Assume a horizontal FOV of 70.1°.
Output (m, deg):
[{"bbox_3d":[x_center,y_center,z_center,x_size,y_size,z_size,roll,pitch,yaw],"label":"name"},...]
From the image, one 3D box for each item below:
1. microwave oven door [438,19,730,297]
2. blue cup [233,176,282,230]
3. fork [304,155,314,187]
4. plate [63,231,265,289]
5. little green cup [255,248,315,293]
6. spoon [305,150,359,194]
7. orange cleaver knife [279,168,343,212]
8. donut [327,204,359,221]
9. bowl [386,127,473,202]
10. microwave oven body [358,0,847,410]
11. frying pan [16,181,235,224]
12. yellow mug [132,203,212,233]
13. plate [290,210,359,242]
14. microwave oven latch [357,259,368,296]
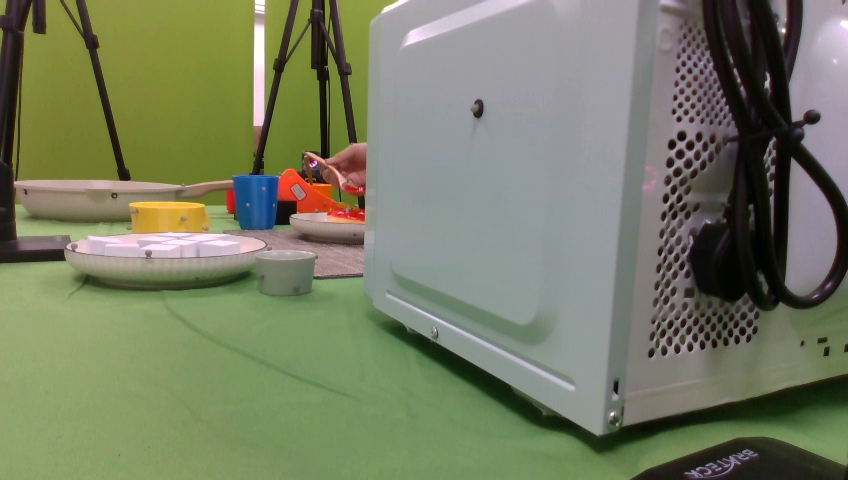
[{"bbox_3d":[0.181,-0.076,0.618,0.358,0.243,0.039,-2,8,-28],"label":"microwave oven door"},{"bbox_3d":[-0.314,-0.071,1.141,0.093,0.100,0.092,0,7,0],"label":"blue cup"},{"bbox_3d":[-0.268,-0.134,1.446,0.028,0.018,0.207,1,-36,-2],"label":"fork"},{"bbox_3d":[-0.288,0.021,0.687,0.208,0.039,0.207,2,8,0],"label":"plate"},{"bbox_3d":[-0.144,0.031,0.627,0.061,0.038,0.061,2,7,0],"label":"little green cup"},{"bbox_3d":[-0.165,-0.127,1.100,0.042,0.021,0.193,-3,33,-41],"label":"spoon"},{"bbox_3d":[-0.236,-0.084,1.333,0.212,0.077,0.012,31,-9,-31],"label":"orange cleaver knife"},{"bbox_3d":[-0.120,-0.037,1.055,0.099,0.048,0.099,6,6,0],"label":"donut"},{"bbox_3d":[0.019,-0.114,1.001,0.151,0.076,0.151,-18,-16,-5],"label":"bowl"},{"bbox_3d":[0.210,-0.051,0.471,0.444,0.260,0.324,-1,7,-28],"label":"microwave oven body"},{"bbox_3d":[-0.554,-0.097,1.266,0.490,0.102,0.305,-10,13,-24],"label":"frying pan"},{"bbox_3d":[-0.356,-0.020,0.878,0.099,0.064,0.131,4,7,22],"label":"yellow mug"},{"bbox_3d":[-0.127,-0.025,1.051,0.209,0.038,0.209,2,7,0],"label":"plate"},{"bbox_3d":[-0.019,0.031,0.528,0.079,0.029,0.030,-1,7,-25],"label":"microwave oven latch"}]
